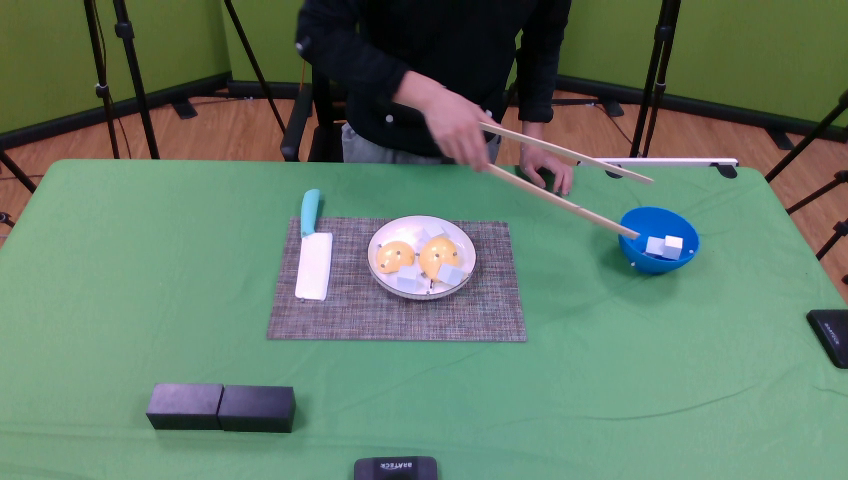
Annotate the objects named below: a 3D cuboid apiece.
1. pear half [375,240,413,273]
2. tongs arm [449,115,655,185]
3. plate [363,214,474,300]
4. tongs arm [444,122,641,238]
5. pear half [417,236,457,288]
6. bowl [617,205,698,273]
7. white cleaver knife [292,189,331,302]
[{"bbox_3d":[-0.059,0.026,1.145,0.070,0.031,0.088,22,43,20],"label":"pear half"},{"bbox_3d":[0.229,-0.157,1.081,0.388,0.028,0.028,17,78,-6],"label":"tongs arm"},{"bbox_3d":[-0.010,0.036,1.146,0.208,0.039,0.206,3,46,-2],"label":"plate"},{"bbox_3d":[0.209,-0.103,1.063,0.385,0.026,0.050,23,74,-4],"label":"tongs arm"},{"bbox_3d":[0.022,0.039,1.127,0.076,0.056,0.109,6,50,7],"label":"pear half"},{"bbox_3d":[0.444,0.011,1.182,0.151,0.077,0.150,2,46,-2],"label":"bowl"},{"bbox_3d":[-0.215,0.006,1.178,0.066,0.021,0.284,5,49,-12],"label":"white cleaver knife"}]
